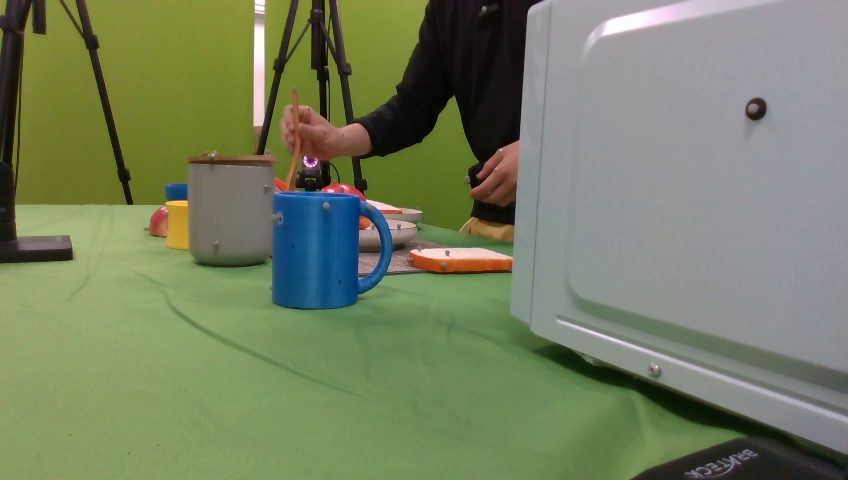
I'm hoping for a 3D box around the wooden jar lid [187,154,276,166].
[{"bbox_3d":[-0.244,-0.097,0.771,0.108,0.020,0.108,-1,7,0],"label":"wooden jar lid"}]

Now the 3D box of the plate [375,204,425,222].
[{"bbox_3d":[-0.102,-0.053,1.299,0.209,0.038,0.209,2,8,0],"label":"plate"}]

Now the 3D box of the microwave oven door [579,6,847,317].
[{"bbox_3d":[0.294,-0.067,0.570,0.358,0.243,0.039,-3,9,-31],"label":"microwave oven door"}]

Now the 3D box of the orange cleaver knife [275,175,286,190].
[{"bbox_3d":[-0.283,-0.087,1.343,0.212,0.077,0.012,24,-16,-41],"label":"orange cleaver knife"}]

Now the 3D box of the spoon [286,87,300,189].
[{"bbox_3d":[-0.206,-0.147,0.964,0.021,0.193,0.041,3,-1,3],"label":"spoon"}]

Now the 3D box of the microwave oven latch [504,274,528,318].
[{"bbox_3d":[0.100,0.041,0.470,0.079,0.029,0.030,-1,7,-27],"label":"microwave oven latch"}]

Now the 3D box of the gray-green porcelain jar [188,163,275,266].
[{"bbox_3d":[-0.246,-0.034,0.779,0.106,0.126,0.106,2,7,0],"label":"gray-green porcelain jar"}]

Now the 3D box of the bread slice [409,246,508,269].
[{"bbox_3d":[0.048,0.022,0.816,0.132,0.019,0.104,0,7,-24],"label":"bread slice"}]

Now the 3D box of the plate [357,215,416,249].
[{"bbox_3d":[-0.116,-0.014,0.967,0.208,0.039,0.207,2,7,0],"label":"plate"}]

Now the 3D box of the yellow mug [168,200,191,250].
[{"bbox_3d":[-0.320,-0.022,0.904,0.130,0.064,0.100,8,10,36],"label":"yellow mug"}]

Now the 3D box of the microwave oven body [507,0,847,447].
[{"bbox_3d":[0.331,-0.042,0.425,0.444,0.260,0.324,-2,8,-31],"label":"microwave oven body"}]

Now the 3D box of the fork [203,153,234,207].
[{"bbox_3d":[-0.480,-0.135,1.411,0.028,0.018,0.207,1,-34,0],"label":"fork"}]

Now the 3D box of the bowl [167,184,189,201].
[{"bbox_3d":[-0.408,-0.064,1.154,0.151,0.077,0.151,2,8,0],"label":"bowl"}]

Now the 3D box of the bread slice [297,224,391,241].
[{"bbox_3d":[-0.121,-0.014,0.970,0.106,0.018,0.135,8,8,40],"label":"bread slice"}]

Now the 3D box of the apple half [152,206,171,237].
[{"bbox_3d":[-0.415,-0.034,1.017,0.081,0.053,0.074,1,10,-9],"label":"apple half"}]

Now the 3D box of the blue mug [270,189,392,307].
[{"bbox_3d":[-0.090,0.005,0.588,0.117,0.106,0.082,0,7,-11],"label":"blue mug"}]

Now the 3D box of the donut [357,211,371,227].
[{"bbox_3d":[-0.129,-0.041,0.956,0.099,0.048,0.099,2,8,0],"label":"donut"}]

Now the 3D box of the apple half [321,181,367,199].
[{"bbox_3d":[-0.129,-0.077,0.950,0.081,0.033,0.081,2,14,0],"label":"apple half"}]
